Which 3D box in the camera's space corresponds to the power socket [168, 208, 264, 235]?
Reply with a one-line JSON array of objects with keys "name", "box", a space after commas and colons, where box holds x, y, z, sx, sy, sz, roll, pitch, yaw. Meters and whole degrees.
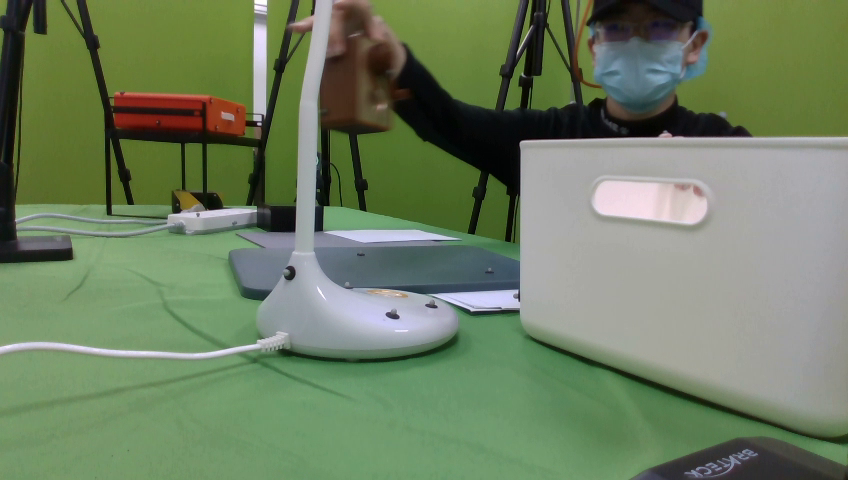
[{"name": "power socket", "box": [-0.381, -0.038, 1.129, 0.072, 0.032, 0.227, 4, 8, 17]}]

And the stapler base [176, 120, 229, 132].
[{"name": "stapler base", "box": [-0.496, -0.257, 1.364, 0.041, 0.024, 0.131, 2, 9, 22]}]

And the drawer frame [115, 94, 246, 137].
[{"name": "drawer frame", "box": [-0.543, -0.281, 1.374, 0.213, 0.082, 0.201, 2, 8, 4]}]

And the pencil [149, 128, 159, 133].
[{"name": "pencil", "box": [-0.528, -0.258, 1.361, 0.012, 0.012, 0.195, 8, 20, 35]}]

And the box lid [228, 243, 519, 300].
[{"name": "box lid", "box": [-0.044, 0.033, 0.757, 0.373, 0.015, 0.262, -1, 9, -22]}]

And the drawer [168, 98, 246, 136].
[{"name": "drawer", "box": [-0.539, -0.279, 1.374, 0.212, 0.073, 0.194, 2, 8, 5]}]

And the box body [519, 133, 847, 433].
[{"name": "box body", "box": [0.279, 0.005, 0.485, 0.366, 0.160, 0.253, -3, 9, -36]}]

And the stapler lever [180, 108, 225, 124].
[{"name": "stapler lever", "box": [-0.496, -0.281, 1.359, 0.027, 0.040, 0.118, 2, 7, 22]}]

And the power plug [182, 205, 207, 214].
[{"name": "power plug", "box": [-0.455, -0.041, 1.196, 0.052, 0.035, 0.072, 1, 42, 23]}]

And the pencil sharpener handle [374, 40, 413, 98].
[{"name": "pencil sharpener handle", "box": [-0.032, -0.201, 0.704, 0.030, 0.068, 0.036, 3, 23, 39]}]

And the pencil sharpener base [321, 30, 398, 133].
[{"name": "pencil sharpener base", "box": [-0.076, -0.189, 0.731, 0.076, 0.107, 0.062, 3, 0, 39]}]

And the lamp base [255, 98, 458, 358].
[{"name": "lamp base", "box": [-0.056, -0.013, 0.462, 0.160, 0.180, 0.180, 6, 11, 27]}]

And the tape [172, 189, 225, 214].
[{"name": "tape", "box": [-0.515, -0.087, 1.388, 0.117, 0.052, 0.117, 3, 8, 0]}]
